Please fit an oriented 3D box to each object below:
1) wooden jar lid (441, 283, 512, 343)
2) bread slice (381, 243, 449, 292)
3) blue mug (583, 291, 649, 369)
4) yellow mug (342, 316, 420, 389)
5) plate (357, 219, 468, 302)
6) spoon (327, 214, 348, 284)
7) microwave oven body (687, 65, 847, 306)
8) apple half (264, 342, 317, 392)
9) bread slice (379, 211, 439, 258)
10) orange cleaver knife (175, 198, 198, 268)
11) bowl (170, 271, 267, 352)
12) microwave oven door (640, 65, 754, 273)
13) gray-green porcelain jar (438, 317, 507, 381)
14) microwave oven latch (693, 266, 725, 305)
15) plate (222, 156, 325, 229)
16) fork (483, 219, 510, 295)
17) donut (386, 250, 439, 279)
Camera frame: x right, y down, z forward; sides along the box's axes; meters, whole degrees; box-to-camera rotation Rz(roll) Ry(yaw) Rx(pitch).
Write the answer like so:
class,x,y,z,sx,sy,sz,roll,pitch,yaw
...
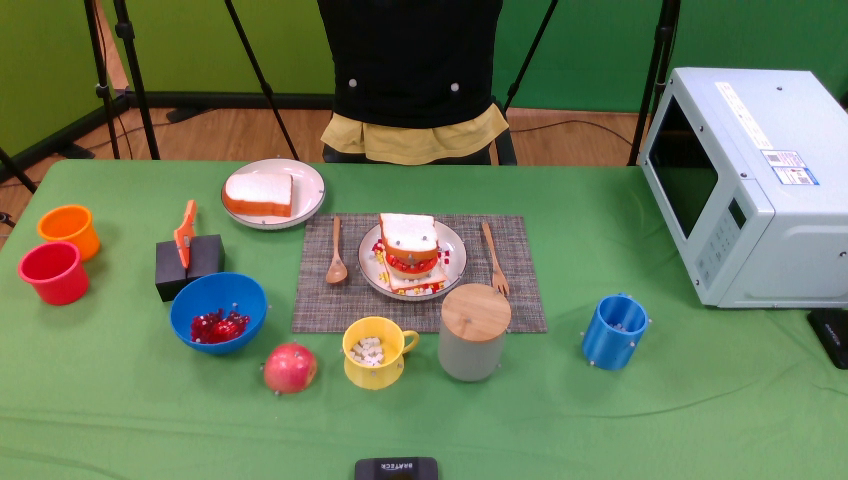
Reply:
class,x,y,z,sx,sy,sz,roll,pitch,yaw
wooden jar lid,0.080,0.114,0.931,0.108,0.021,0.107,1,49,-1
bread slice,-0.026,0.039,1.139,0.107,0.018,0.133,-12,47,-16
blue mug,0.324,0.142,1.023,0.082,0.106,0.116,15,47,11
yellow mug,-0.067,0.177,0.991,0.131,0.064,0.099,-16,50,-19
plate,-0.021,0.037,1.141,0.208,0.039,0.206,2,46,-2
spoon,-0.167,0.012,1.164,0.041,0.022,0.192,-18,47,11
microwave oven body,0.669,-0.111,1.176,0.326,0.261,0.439,0,46,-3
apple half,-0.214,0.198,0.970,0.074,0.053,0.080,19,48,11
bread slice,-0.024,-0.012,1.064,0.105,0.019,0.130,3,33,-10
orange cleaver knife,-0.438,-0.017,1.138,0.012,0.077,0.210,-13,27,-7
bowl,-0.333,0.132,1.006,0.151,0.077,0.150,2,46,-2
microwave oven door,0.523,-0.147,1.193,0.039,0.245,0.353,0,47,-3
gray-green porcelain jar,0.076,0.158,0.977,0.106,0.127,0.105,2,47,-2
microwave oven latch,0.523,0.082,1.115,0.030,0.029,0.078,3,46,0
plate,-0.308,-0.095,1.251,0.209,0.038,0.208,2,47,-2
fork,0.137,0.029,1.172,0.028,0.019,0.206,-12,48,4
donut,-0.022,0.029,1.110,0.099,0.048,0.098,1,46,-1
